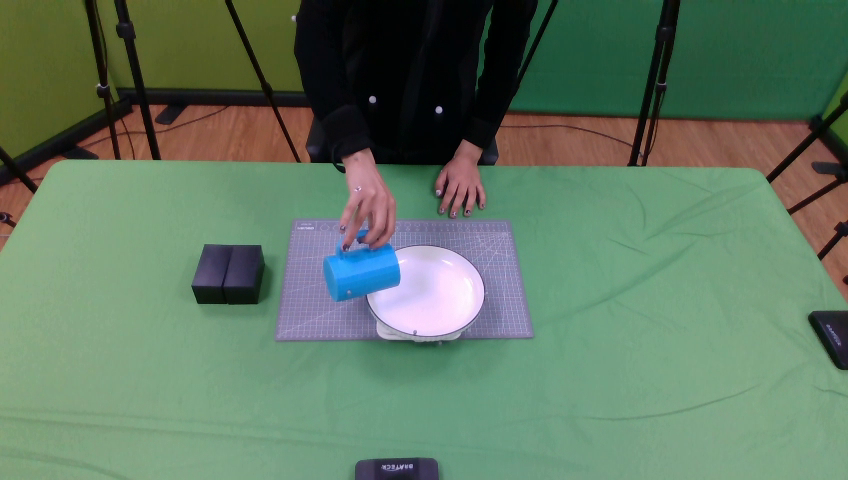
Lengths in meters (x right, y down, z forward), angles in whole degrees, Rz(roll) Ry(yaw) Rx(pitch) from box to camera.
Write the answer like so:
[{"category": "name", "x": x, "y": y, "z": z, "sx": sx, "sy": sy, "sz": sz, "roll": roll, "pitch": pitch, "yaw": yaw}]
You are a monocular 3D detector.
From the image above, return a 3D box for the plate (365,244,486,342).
[{"category": "plate", "x": 0.001, "y": 0.093, "z": 1.051, "sx": 0.209, "sy": 0.038, "sz": 0.208, "roll": 1, "pitch": 46, "yaw": -1}]

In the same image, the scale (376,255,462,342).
[{"category": "scale", "x": -0.010, "y": 0.096, "z": 1.094, "sx": 0.149, "sy": 0.032, "sz": 0.199, "roll": 2, "pitch": 46, "yaw": -3}]

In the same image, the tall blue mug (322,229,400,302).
[{"category": "tall blue mug", "x": -0.100, "y": 0.042, "z": 0.974, "sx": 0.108, "sy": 0.107, "sz": 0.077, "roll": -13, "pitch": 59, "yaw": -21}]
